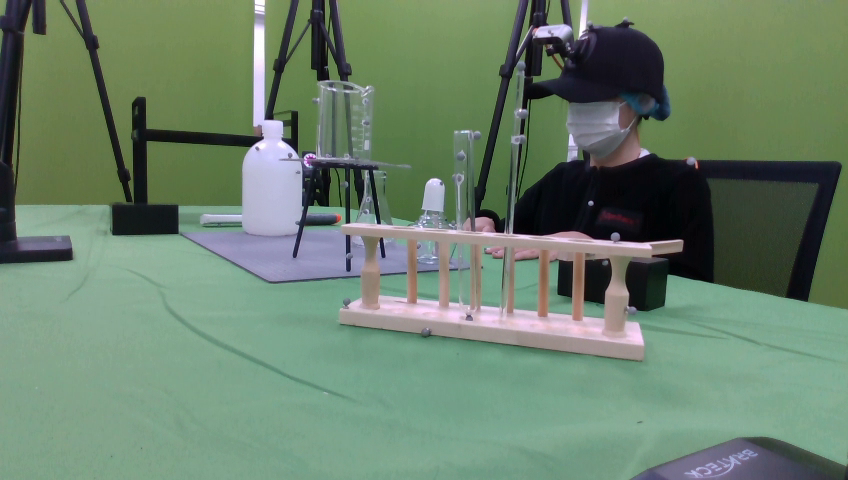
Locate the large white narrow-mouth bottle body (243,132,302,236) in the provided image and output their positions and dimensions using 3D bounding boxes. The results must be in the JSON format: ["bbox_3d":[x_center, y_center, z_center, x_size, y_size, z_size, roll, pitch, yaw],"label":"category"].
[{"bbox_3d":[-0.265,-0.109,1.061,0.102,0.194,0.102,2,8,0],"label":"large white narrow-mouth bottle body"}]

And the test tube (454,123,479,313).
[{"bbox_3d":[0.034,-0.016,0.477,0.017,0.150,0.017,-2,9,1],"label":"test tube"}]

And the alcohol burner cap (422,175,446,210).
[{"bbox_3d":[0.016,-0.065,0.830,0.034,0.048,0.034,7,4,0],"label":"alcohol burner cap"}]

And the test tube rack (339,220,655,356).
[{"bbox_3d":[0.056,0.032,0.495,0.242,0.085,0.067,4,7,15],"label":"test tube rack"}]

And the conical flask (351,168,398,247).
[{"bbox_3d":[-0.078,-0.053,0.962,0.075,0.122,0.075,2,7,0],"label":"conical flask"}]

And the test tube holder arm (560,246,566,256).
[{"bbox_3d":[0.173,0.007,0.612,0.088,0.015,0.010,-3,9,-30],"label":"test tube holder arm"}]

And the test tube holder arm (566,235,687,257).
[{"bbox_3d":[0.215,0.006,0.630,0.179,0.015,0.013,-3,9,-31],"label":"test tube holder arm"}]

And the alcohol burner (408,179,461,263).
[{"bbox_3d":[0.014,-0.029,0.834,0.078,0.119,0.078,0,6,0],"label":"alcohol burner"}]

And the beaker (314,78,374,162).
[{"bbox_3d":[-0.101,-0.151,0.775,0.074,0.100,0.083,-2,8,-39],"label":"beaker"}]

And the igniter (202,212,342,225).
[{"bbox_3d":[-0.298,-0.043,1.216,0.278,0.025,0.057,-3,-2,-32],"label":"igniter"}]

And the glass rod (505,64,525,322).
[{"bbox_3d":[0.069,-0.030,0.458,0.008,0.199,0.008,1,15,0],"label":"glass rod"}]

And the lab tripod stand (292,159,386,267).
[{"bbox_3d":[-0.105,-0.039,0.798,0.148,0.131,0.148,2,5,0],"label":"lab tripod stand"}]

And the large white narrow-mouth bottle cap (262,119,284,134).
[{"bbox_3d":[-0.262,-0.196,1.048,0.038,0.024,0.037,2,8,0],"label":"large white narrow-mouth bottle cap"}]

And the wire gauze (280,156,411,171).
[{"bbox_3d":[-0.103,-0.103,0.785,0.121,0.011,0.126,11,8,42],"label":"wire gauze"}]
